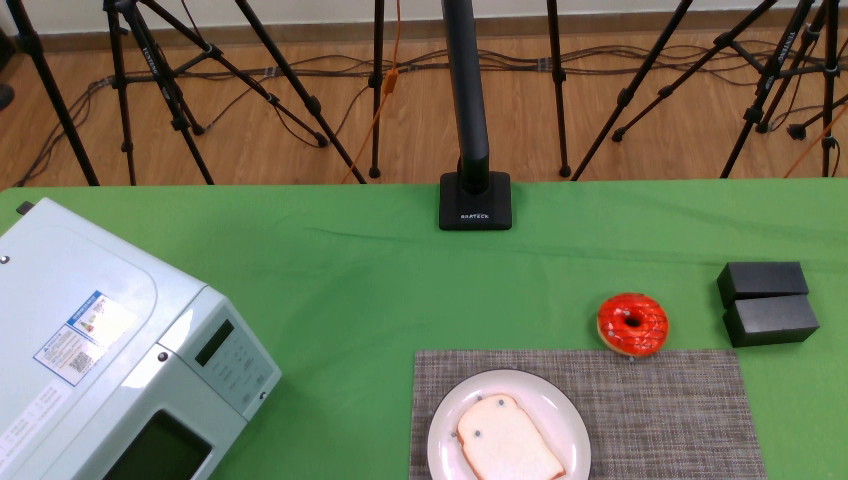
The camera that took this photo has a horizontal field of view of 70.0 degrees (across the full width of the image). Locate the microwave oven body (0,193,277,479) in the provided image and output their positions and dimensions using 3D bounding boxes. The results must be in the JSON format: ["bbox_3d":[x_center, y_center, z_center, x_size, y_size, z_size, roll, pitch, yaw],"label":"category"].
[{"bbox_3d":[-0.452,0.219,0.719,0.324,0.262,0.440,24,63,18],"label":"microwave oven body"}]

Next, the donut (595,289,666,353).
[{"bbox_3d":[0.292,0.115,0.859,0.099,0.049,0.098,-4,54,6],"label":"donut"}]

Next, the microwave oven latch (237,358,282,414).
[{"bbox_3d":[-0.228,0.196,0.832,0.030,0.030,0.079,26,64,19],"label":"microwave oven latch"}]

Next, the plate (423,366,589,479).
[{"bbox_3d":[0.103,0.266,0.778,0.207,0.039,0.205,-2,57,3],"label":"plate"}]

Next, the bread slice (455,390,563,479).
[{"bbox_3d":[0.100,0.261,0.782,0.105,0.019,0.130,-26,60,-13],"label":"bread slice"}]

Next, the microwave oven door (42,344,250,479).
[{"bbox_3d":[-0.347,0.304,0.651,0.039,0.246,0.354,24,62,19],"label":"microwave oven door"}]
